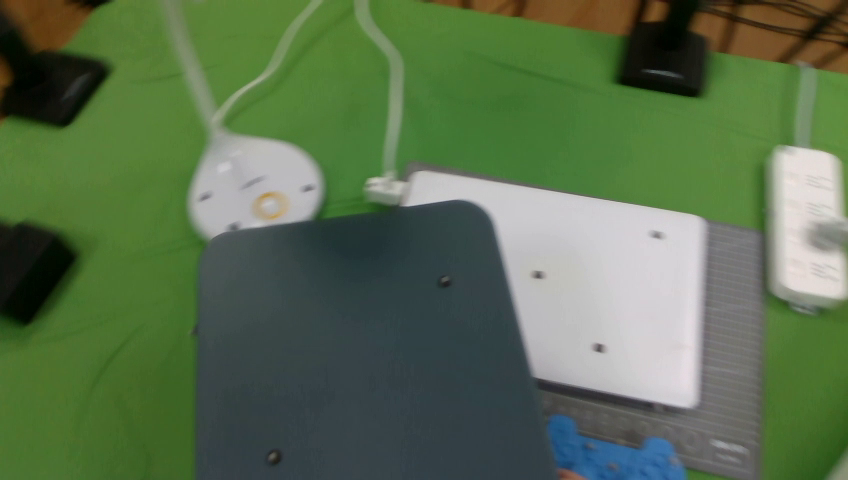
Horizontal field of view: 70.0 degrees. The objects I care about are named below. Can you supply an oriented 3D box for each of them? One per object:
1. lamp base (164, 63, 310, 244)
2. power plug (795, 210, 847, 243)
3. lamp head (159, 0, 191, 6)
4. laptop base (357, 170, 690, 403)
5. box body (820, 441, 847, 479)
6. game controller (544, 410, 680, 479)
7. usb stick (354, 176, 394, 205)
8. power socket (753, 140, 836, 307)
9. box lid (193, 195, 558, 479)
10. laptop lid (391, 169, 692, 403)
[{"bbox_3d":[-0.235,-0.103,0.692,0.178,0.182,0.160,37,67,23],"label":"lamp base"},{"bbox_3d":[0.457,-0.007,0.679,0.072,0.053,0.035,21,62,12],"label":"power plug"},{"bbox_3d":[-0.194,-0.245,0.423,0.123,0.112,0.112,39,65,-4],"label":"lamp head"},{"bbox_3d":[0.120,0.042,0.693,0.354,0.023,0.234,9,64,7],"label":"laptop base"},{"bbox_3d":[0.552,0.189,0.514,0.364,0.162,0.252,-39,66,-19],"label":"box body"},{"bbox_3d":[0.164,0.220,0.573,0.155,0.052,0.096,12,59,8],"label":"game controller"},{"bbox_3d":[-0.054,-0.059,0.741,0.059,0.027,0.021,13,56,5],"label":"usb stick"},{"bbox_3d":[0.435,-0.028,0.718,0.072,0.033,0.225,11,60,6],"label":"power socket"},{"bbox_3d":[-0.041,0.133,0.461,0.263,0.015,0.368,-8,63,-3],"label":"box lid"},{"bbox_3d":[0.119,0.038,0.682,0.356,0.013,0.240,11,63,8],"label":"laptop lid"}]
